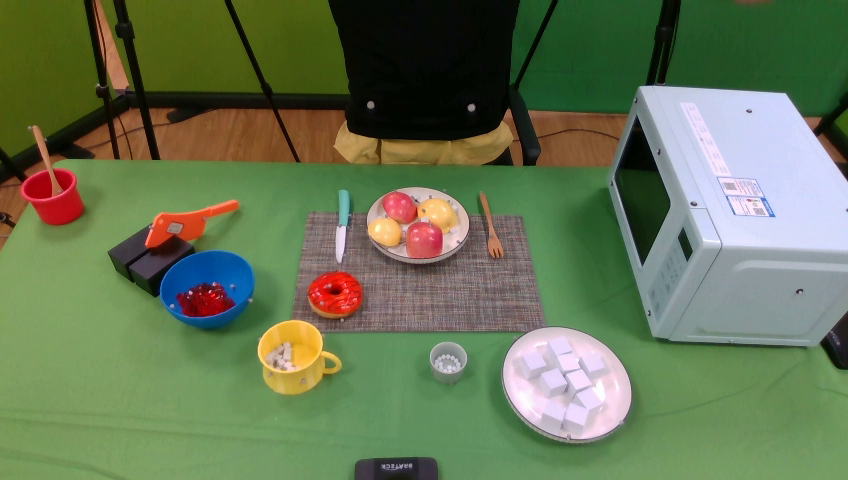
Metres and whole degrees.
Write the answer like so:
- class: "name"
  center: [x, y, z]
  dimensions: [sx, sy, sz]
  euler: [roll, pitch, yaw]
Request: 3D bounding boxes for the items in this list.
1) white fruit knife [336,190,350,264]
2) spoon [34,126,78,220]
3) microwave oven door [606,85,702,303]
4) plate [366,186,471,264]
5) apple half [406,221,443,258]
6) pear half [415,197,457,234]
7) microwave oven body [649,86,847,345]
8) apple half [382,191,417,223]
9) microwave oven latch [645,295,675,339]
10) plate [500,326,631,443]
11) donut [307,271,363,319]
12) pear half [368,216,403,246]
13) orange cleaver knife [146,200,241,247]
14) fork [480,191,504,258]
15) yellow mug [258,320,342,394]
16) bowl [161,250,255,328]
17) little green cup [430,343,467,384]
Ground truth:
- class: "white fruit knife"
  center: [-0.164, -0.030, 1.217]
  dimensions: [0.027, 0.016, 0.206]
  euler: [-21, 45, 19]
- class: "spoon"
  center: [-0.726, -0.132, 1.187]
  dimensions: [0.042, 0.021, 0.194]
  euler: [-18, 94, -21]
- class: "microwave oven door"
  center: [0.423, -0.094, 1.140]
  dimensions: [0.039, 0.245, 0.353]
  euler: [2, 46, -1]
- class: "plate"
  center: [-0.013, -0.027, 1.207]
  dimensions: [0.209, 0.038, 0.208]
  euler: [2, 46, -2]
- class: "apple half"
  center: [0.001, -0.006, 1.164]
  dimensions: [0.075, 0.053, 0.080]
  euler: [5, 42, -1]
- class: "pear half"
  center: [0.016, -0.065, 1.227]
  dimensions: [0.076, 0.056, 0.109]
  euler: [-27, 52, -32]
- class: "microwave oven body"
  center: [0.567, -0.053, 1.118]
  dimensions: [0.326, 0.261, 0.439]
  euler: [2, 45, -1]
- class: "apple half"
  center: [-0.043, -0.072, 1.225]
  dimensions: [0.081, 0.033, 0.081]
  euler: [19, 41, -17]
- class: "microwave oven latch"
  center: [0.412, 0.134, 1.061]
  dimensions: [0.030, 0.029, 0.078]
  euler: [3, 45, 0]
- class: "plate"
  center: [0.224, 0.234, 0.978]
  dimensions: [0.208, 0.039, 0.206]
  euler: [2, 46, -2]
- class: "donut"
  center: [-0.157, 0.097, 1.072]
  dimensions: [0.099, 0.048, 0.098]
  euler: [4, 45, -4]
- class: "pear half"
  center: [-0.070, -0.026, 1.183]
  dimensions: [0.070, 0.031, 0.087]
  euler: [32, 45, 0]
- class: "orange cleaver knife"
  center: [-0.435, -0.033, 1.157]
  dimensions: [0.012, 0.077, 0.211]
  euler: [31, 26, 19]
- class: "fork"
  center: [0.136, -0.035, 1.241]
  dimensions: [0.028, 0.019, 0.206]
  euler: [-8, 46, 1]
- class: "yellow mug"
  center: [-0.196, 0.189, 0.972]
  dimensions: [0.131, 0.064, 0.099]
  euler: [9, 46, 4]
- class: "bowl"
  center: [-0.362, 0.097, 1.040]
  dimensions: [0.151, 0.077, 0.150]
  euler: [2, 45, -2]
- class: "little green cup"
  center: [0.039, 0.203, 0.993]
  dimensions: [0.061, 0.039, 0.061]
  euler: [2, 46, -2]
